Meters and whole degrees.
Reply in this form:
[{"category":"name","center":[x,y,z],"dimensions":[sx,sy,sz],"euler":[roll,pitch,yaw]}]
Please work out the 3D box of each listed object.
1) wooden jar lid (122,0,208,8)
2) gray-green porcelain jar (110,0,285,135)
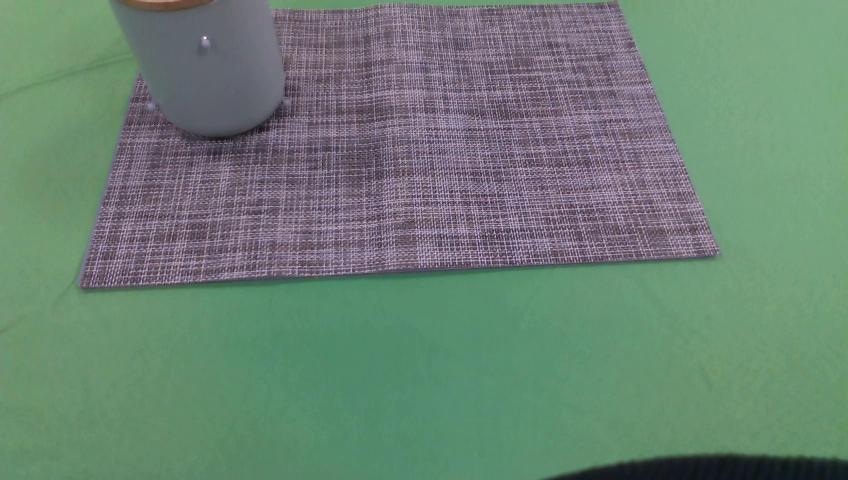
[{"category":"wooden jar lid","center":[-0.164,-0.188,0.407],"dimensions":[0.108,0.021,0.107],"euler":[0,58,0]},{"category":"gray-green porcelain jar","center":[-0.165,-0.152,0.458],"dimensions":[0.106,0.127,0.105],"euler":[1,56,-1]}]
